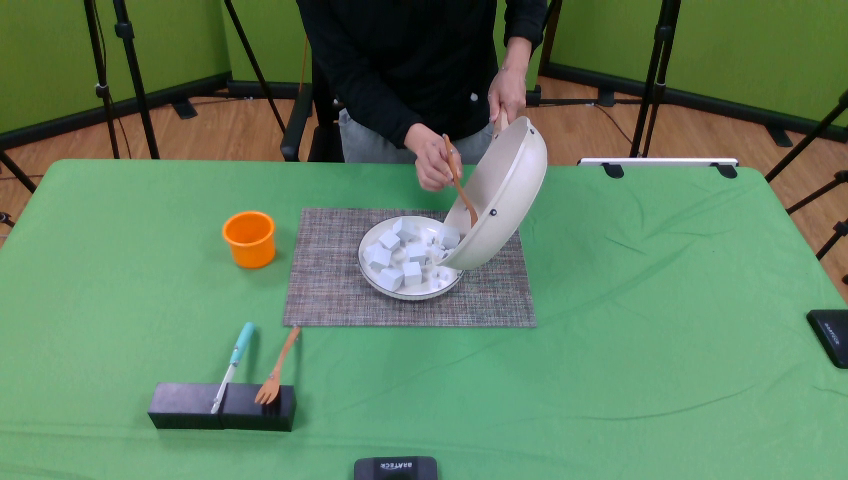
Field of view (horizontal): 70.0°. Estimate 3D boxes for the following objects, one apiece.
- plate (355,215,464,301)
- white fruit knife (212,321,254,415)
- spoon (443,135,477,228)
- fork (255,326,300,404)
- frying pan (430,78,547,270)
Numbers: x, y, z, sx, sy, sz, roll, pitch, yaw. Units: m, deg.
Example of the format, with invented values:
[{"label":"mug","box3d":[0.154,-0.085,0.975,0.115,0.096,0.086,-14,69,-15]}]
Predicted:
[{"label":"plate","box3d":[-0.025,0.038,1.144,0.208,0.039,0.206,3,46,-2]},{"label":"white fruit knife","box3d":[-0.298,0.193,0.947,0.016,0.027,0.206,1,31,0]},{"label":"spoon","box3d":[0.062,-0.092,1.055,0.021,0.194,0.041,-21,26,4]},{"label":"fork","box3d":[-0.226,0.192,0.955,0.028,0.019,0.206,-3,27,6]},{"label":"frying pan","box3d":[0.129,-0.149,1.094,0.103,0.307,0.485,25,49,-15]}]
